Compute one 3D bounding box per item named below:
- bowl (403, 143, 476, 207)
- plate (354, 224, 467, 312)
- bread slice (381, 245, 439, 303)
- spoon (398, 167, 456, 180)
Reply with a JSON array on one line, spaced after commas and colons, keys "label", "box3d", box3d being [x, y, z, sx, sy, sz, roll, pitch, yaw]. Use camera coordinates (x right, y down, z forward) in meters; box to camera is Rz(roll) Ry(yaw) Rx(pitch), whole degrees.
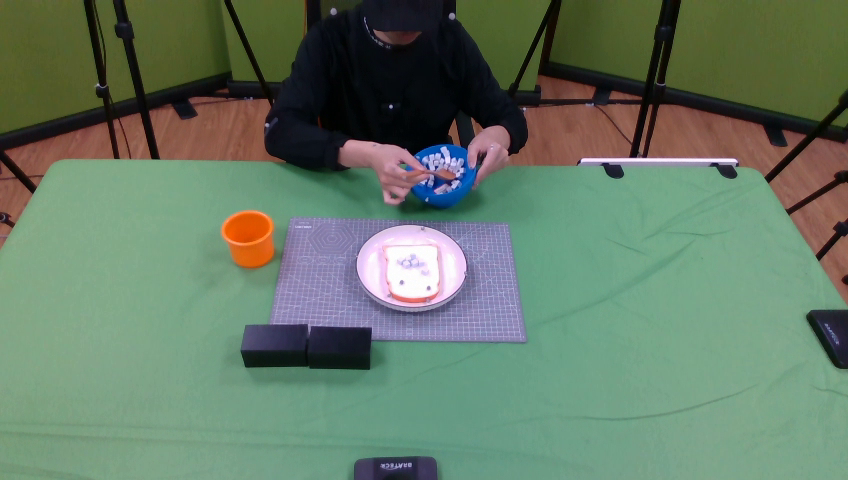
[{"label": "bowl", "box3d": [0.037, -0.122, 1.261, 0.151, 0.077, 0.150, -6, 50, 8]}, {"label": "plate", "box3d": [-0.025, 0.055, 1.128, 0.209, 0.038, 0.208, 3, 46, -2]}, {"label": "bread slice", "box3d": [-0.022, 0.061, 1.126, 0.107, 0.018, 0.133, -3, 45, -8]}, {"label": "spoon", "box3d": [0.006, -0.134, 1.211, 0.041, 0.022, 0.194, 38, 23, 24]}]
